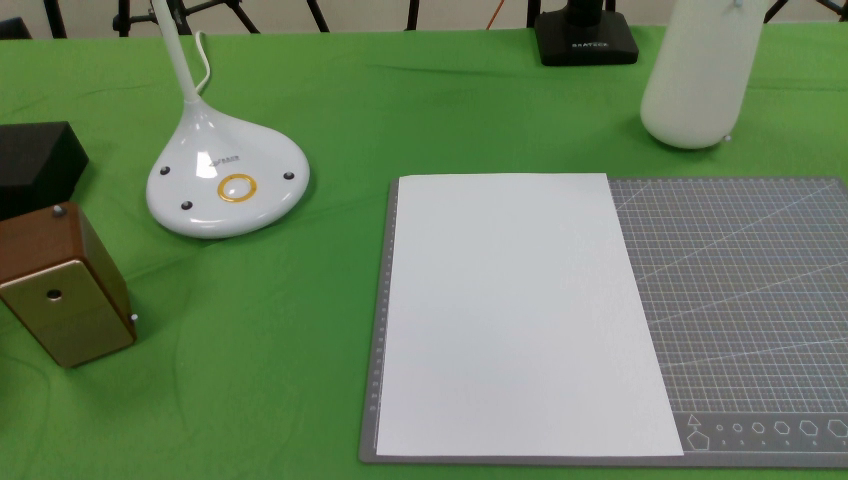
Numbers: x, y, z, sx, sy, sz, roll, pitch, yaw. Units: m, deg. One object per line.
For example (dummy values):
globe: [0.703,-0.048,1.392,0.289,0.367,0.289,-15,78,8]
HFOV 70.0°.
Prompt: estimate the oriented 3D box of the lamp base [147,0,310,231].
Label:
lamp base: [-0.208,-0.128,0.566,0.161,0.182,0.177,-30,50,-23]

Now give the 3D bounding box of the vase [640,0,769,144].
vase: [0.277,-0.194,0.594,0.098,0.202,0.097,-2,46,3]

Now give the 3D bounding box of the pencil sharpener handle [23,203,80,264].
pencil sharpener handle: [-0.300,-0.011,0.496,0.036,0.068,0.030,-17,48,-20]

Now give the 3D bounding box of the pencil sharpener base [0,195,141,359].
pencil sharpener base: [-0.276,0.029,0.474,0.061,0.108,0.076,-21,49,-16]
